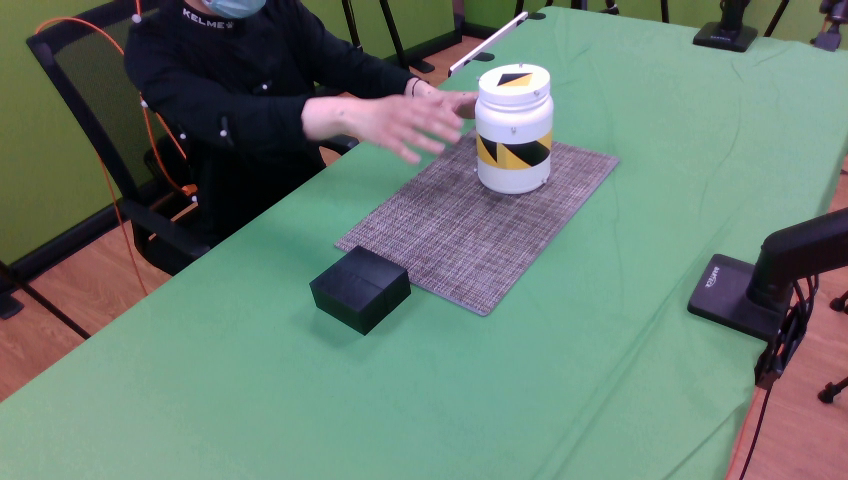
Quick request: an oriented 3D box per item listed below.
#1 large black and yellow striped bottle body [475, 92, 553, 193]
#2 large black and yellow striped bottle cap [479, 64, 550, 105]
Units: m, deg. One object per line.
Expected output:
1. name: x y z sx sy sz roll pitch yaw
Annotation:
1. large black and yellow striped bottle body: 0.153 -0.187 1.034 0.131 0.185 0.130 -4 41 4
2. large black and yellow striped bottle cap: 0.146 -0.253 0.978 0.115 0.019 0.114 -5 40 5
